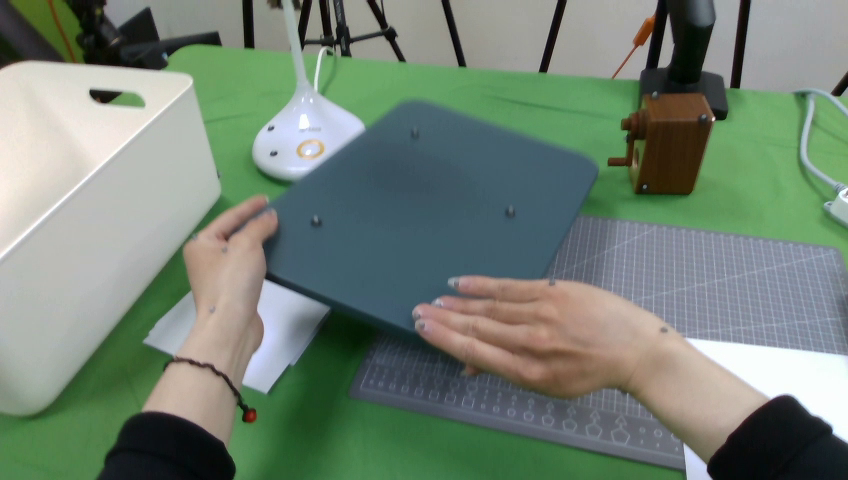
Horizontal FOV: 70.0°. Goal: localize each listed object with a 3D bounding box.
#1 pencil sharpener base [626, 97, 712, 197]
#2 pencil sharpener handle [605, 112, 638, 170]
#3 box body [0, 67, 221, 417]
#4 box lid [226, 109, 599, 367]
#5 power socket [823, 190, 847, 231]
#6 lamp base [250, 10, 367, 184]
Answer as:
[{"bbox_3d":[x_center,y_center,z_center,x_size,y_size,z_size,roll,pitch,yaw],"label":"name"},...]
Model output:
[{"bbox_3d":[0.283,-0.108,0.718,0.076,0.108,0.061,0,42,6],"label":"pencil sharpener base"},{"bbox_3d":[0.230,-0.115,0.710,0.030,0.068,0.036,0,21,6],"label":"pencil sharpener handle"},{"bbox_3d":[-0.412,-0.019,0.628,0.253,0.162,0.361,8,43,12],"label":"box body"},{"bbox_3d":[0.013,-0.035,0.615,0.262,0.015,0.370,21,39,18],"label":"box lid"},{"bbox_3d":[0.531,0.010,0.622,0.072,0.033,0.224,-20,43,-18],"label":"power socket"},{"bbox_3d":[-0.164,-0.193,0.790,0.161,0.182,0.177,-13,40,-10],"label":"lamp base"}]
